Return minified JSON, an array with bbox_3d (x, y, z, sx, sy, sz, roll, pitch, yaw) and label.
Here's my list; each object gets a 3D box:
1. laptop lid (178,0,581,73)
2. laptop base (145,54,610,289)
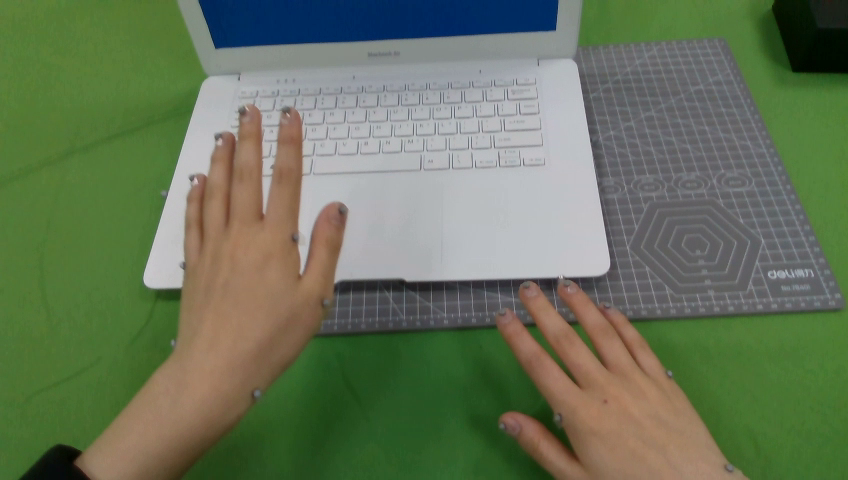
[{"bbox_3d":[-0.044,-0.244,0.491,0.356,0.244,0.013,-3,47,5],"label":"laptop lid"},{"bbox_3d":[-0.037,-0.064,0.514,0.354,0.023,0.233,-2,60,4],"label":"laptop base"}]
